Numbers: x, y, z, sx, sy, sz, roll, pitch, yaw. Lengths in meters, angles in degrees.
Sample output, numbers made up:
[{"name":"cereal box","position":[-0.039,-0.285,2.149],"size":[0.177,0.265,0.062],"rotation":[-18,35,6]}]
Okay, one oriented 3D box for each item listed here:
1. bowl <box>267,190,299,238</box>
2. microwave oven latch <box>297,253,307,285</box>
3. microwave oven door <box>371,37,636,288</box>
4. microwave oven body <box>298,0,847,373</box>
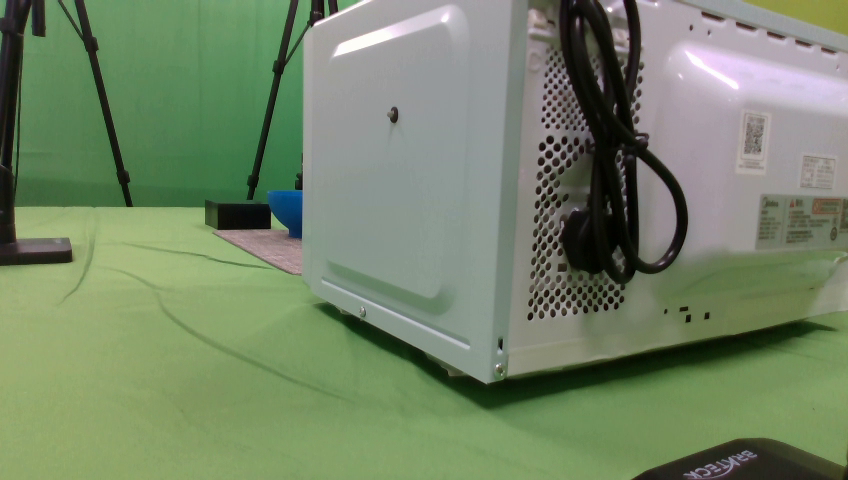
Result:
[{"name":"bowl","position":[-0.202,-0.046,1.070],"size":[0.151,0.077,0.151],"rotation":[3,7,0]},{"name":"microwave oven latch","position":[-0.082,0.027,0.583],"size":[0.079,0.029,0.030],"rotation":[-1,7,-33]},{"name":"microwave oven door","position":[0.109,-0.080,0.686],"size":[0.358,0.243,0.039],"rotation":[-2,9,-33]},{"name":"microwave oven body","position":[0.151,-0.055,0.543],"size":[0.444,0.260,0.324],"rotation":[-1,7,-33]}]
